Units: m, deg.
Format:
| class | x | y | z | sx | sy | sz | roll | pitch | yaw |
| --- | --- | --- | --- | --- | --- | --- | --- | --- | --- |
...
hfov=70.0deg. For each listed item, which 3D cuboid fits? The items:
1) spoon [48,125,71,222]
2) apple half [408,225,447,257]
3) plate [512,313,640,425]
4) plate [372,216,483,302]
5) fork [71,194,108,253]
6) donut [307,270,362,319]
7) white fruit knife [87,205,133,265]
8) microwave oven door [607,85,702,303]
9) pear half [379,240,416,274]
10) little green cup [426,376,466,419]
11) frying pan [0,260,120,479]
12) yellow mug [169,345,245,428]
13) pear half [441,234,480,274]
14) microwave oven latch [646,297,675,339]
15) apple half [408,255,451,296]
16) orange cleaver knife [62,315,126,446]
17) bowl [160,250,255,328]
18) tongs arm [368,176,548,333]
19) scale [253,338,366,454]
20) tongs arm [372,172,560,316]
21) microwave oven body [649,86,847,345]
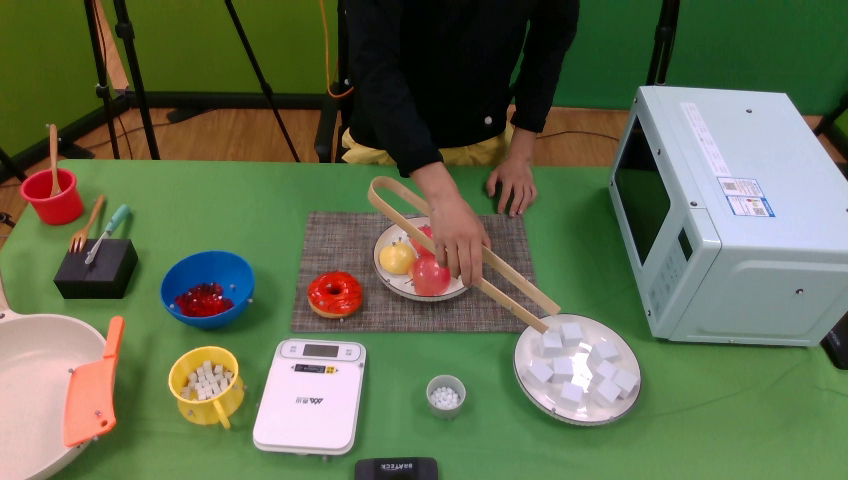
| class | x | y | z | sx | sy | sz | roll | pitch | yaw |
| --- | --- | --- | --- | --- | --- | --- | --- | --- | --- |
| spoon | -0.718 | -0.131 | 1.188 | 0.041 | 0.021 | 0.193 | -3 | 90 | -7 |
| apple half | 0.011 | -0.006 | 1.176 | 0.081 | 0.033 | 0.081 | 2 | 53 | -3 |
| plate | 0.246 | 0.213 | 0.999 | 0.208 | 0.039 | 0.206 | 2 | 46 | -2 |
| plate | 0.006 | 0.038 | 1.145 | 0.209 | 0.038 | 0.208 | 2 | 46 | -2 |
| fork | -0.634 | -0.036 | 1.158 | 0.028 | 0.019 | 0.206 | -8 | 31 | -8 |
| donut | -0.158 | 0.096 | 1.073 | 0.099 | 0.048 | 0.098 | 4 | 46 | -4 |
| white fruit knife | -0.584 | -0.013 | 1.129 | 0.016 | 0.027 | 0.206 | -1 | 32 | -4 |
| microwave oven door | 0.423 | -0.094 | 1.140 | 0.039 | 0.245 | 0.353 | 2 | 46 | -1 |
| pear half | -0.048 | 0.024 | 1.146 | 0.070 | 0.031 | 0.087 | 11 | 47 | -12 |
| little green cup | 0.033 | 0.248 | 0.950 | 0.061 | 0.039 | 0.061 | 2 | 46 | -2 |
| frying pan | -0.647 | 0.164 | 0.936 | 0.307 | 0.103 | 0.485 | -19 | 58 | -22 |
| yellow mug | -0.322 | 0.230 | 0.922 | 0.100 | 0.064 | 0.130 | -24 | 53 | -25 |
| pear half | 0.065 | 0.007 | 1.150 | 0.076 | 0.056 | 0.109 | -11 | 43 | -2 |
| microwave oven latch | 0.412 | 0.134 | 1.061 | 0.030 | 0.029 | 0.078 | 4 | 45 | 1 |
| apple half | 0.012 | 0.058 | 1.103 | 0.075 | 0.053 | 0.080 | -5 | 43 | -13 |
| orange cleaver knife | -0.480 | 0.199 | 0.887 | 0.077 | 0.012 | 0.210 | -9 | 47 | -8 |
| bowl | -0.362 | 0.098 | 1.039 | 0.151 | 0.077 | 0.150 | 2 | 45 | -2 |
| tongs arm | 0.046 | 0.022 | 1.001 | 0.386 | 0.028 | 0.028 | 39 | 52 | 12 |
| scale | -0.175 | 0.236 | 0.951 | 0.149 | 0.032 | 0.199 | 5 | 45 | -1 |
| tongs arm | 0.064 | 0.006 | 1.023 | 0.383 | 0.026 | 0.050 | 41 | 49 | 13 |
| microwave oven body | 0.567 | -0.053 | 1.118 | 0.326 | 0.261 | 0.439 | 2 | 45 | -1 |
